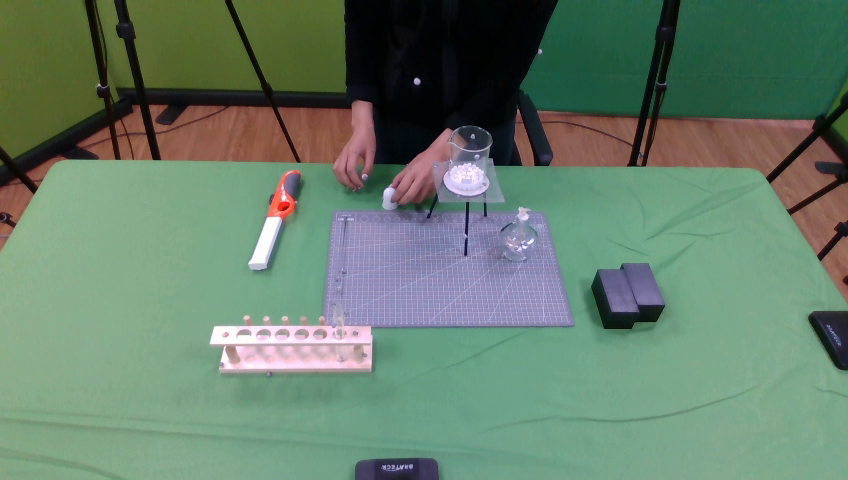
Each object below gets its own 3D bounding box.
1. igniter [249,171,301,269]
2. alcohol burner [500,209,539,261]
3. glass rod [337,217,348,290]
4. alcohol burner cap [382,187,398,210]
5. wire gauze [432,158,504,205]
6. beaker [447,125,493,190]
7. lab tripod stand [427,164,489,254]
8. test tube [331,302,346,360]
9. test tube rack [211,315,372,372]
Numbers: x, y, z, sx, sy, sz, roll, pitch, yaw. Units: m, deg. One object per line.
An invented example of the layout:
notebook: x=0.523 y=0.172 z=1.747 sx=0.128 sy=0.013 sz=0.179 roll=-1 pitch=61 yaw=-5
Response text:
igniter: x=-0.297 y=-0.049 z=1.220 sx=0.057 sy=0.025 sz=0.275 roll=-1 pitch=45 yaw=9
alcohol burner: x=0.185 y=-0.016 z=1.159 sx=0.078 sy=0.120 sz=0.077 roll=2 pitch=48 yaw=-2
glass rod: x=-0.158 y=0.022 z=1.171 sx=0.008 sy=0.008 sz=0.198 roll=1 pitch=43 yaw=-2
alcohol burner cap: x=-0.072 y=-0.090 z=1.267 sx=0.034 sy=0.048 sz=0.033 roll=2 pitch=46 yaw=-2
wire gauze: x=0.081 y=-0.111 z=1.138 sx=0.125 sy=0.011 sz=0.120 roll=0 pitch=48 yaw=-7
beaker: x=0.079 y=-0.148 z=1.106 sx=0.084 sy=0.101 sz=0.073 roll=-3 pitch=47 yaw=-7
lab tripod stand: x=0.078 y=-0.068 z=1.188 sx=0.148 sy=0.132 sz=0.147 roll=3 pitch=47 yaw=-3
test tube: x=-0.132 y=0.144 z=0.938 sx=0.017 sy=0.151 sz=0.017 roll=2 pitch=49 yaw=-3
test tube rack: x=-0.208 y=0.163 z=0.982 sx=0.242 sy=0.085 sz=0.066 roll=1 pitch=46 yaw=-4
